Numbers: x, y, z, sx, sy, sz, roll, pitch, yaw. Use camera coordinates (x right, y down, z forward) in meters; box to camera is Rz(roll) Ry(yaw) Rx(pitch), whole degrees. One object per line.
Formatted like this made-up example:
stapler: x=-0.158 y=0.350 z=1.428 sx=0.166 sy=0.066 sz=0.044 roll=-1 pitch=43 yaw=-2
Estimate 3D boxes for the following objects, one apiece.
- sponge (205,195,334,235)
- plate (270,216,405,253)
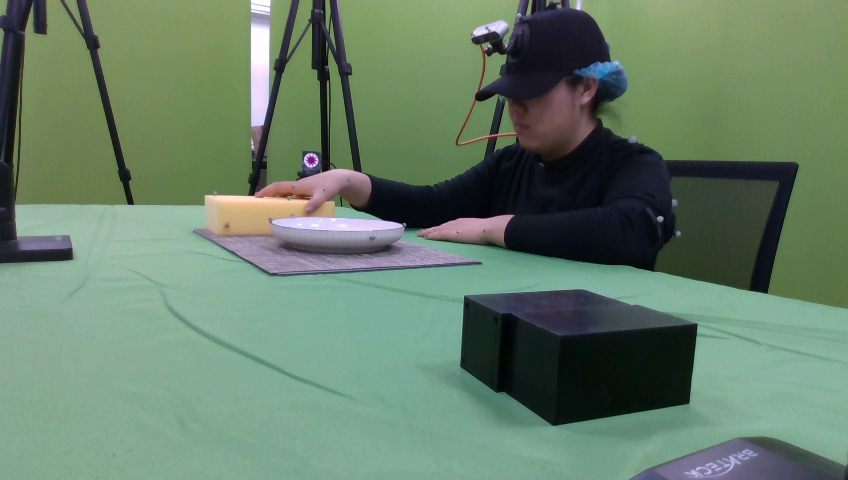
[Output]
sponge: x=-0.280 y=-0.047 z=1.097 sx=0.208 sy=0.061 sz=0.117 roll=-2 pitch=8 yaw=-31
plate: x=-0.134 y=-0.009 z=0.946 sx=0.208 sy=0.039 sz=0.207 roll=3 pitch=7 yaw=0
